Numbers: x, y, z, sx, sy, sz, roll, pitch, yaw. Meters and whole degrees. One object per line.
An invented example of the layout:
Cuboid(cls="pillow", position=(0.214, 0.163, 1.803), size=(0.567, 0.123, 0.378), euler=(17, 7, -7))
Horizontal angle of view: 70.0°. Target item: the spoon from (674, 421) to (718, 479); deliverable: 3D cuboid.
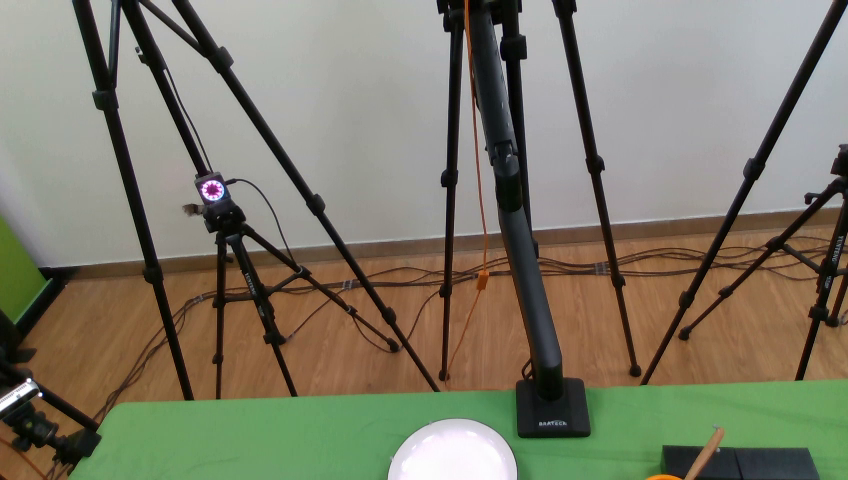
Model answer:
Cuboid(cls="spoon", position=(0.354, 0.333, 0.840), size=(0.022, 0.194, 0.041), euler=(18, 13, -41))

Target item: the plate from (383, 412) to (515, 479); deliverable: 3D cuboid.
Cuboid(cls="plate", position=(0.041, 0.371, 0.962), size=(0.207, 0.039, 0.205), euler=(-7, 38, 6))
